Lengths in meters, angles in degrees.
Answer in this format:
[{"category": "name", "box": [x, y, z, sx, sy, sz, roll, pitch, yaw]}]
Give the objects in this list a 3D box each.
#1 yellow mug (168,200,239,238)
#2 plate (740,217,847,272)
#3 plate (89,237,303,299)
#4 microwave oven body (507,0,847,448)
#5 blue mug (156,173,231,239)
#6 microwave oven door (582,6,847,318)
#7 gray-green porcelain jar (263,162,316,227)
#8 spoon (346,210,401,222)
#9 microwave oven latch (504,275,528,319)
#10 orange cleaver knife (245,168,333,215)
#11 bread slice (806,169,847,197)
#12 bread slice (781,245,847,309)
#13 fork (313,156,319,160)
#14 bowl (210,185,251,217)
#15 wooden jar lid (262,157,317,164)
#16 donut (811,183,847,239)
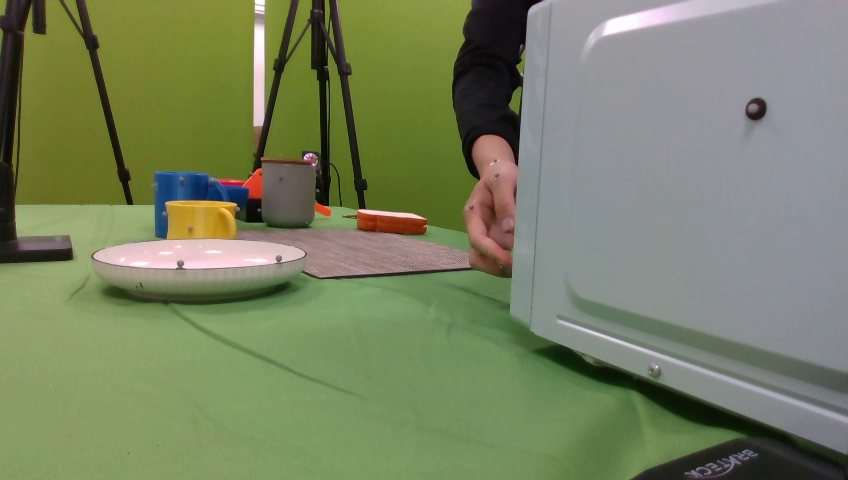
[{"category": "yellow mug", "box": [-0.319, -0.023, 0.904, 0.130, 0.064, 0.100, 9, 11, 36]}, {"category": "plate", "box": [0.358, 0.002, 0.465, 0.209, 0.038, 0.209, 0, 4, 0]}, {"category": "plate", "box": [-0.233, 0.029, 0.636, 0.208, 0.039, 0.207, 2, 7, 0]}, {"category": "microwave oven body", "box": [0.331, -0.042, 0.425, 0.444, 0.260, 0.324, -2, 8, -31]}, {"category": "blue mug", "box": [-0.381, -0.057, 1.004, 0.117, 0.106, 0.082, 1, 8, -12]}, {"category": "microwave oven door", "box": [0.295, -0.067, 0.569, 0.358, 0.243, 0.039, -3, 8, -31]}, {"category": "gray-green porcelain jar", "box": [-0.271, -0.092, 1.217, 0.106, 0.126, 0.106, 2, 7, 0]}, {"category": "spoon", "box": [-0.120, -0.060, 1.400, 0.042, 0.021, 0.192, -26, 24, -38]}, {"category": "microwave oven latch", "box": [0.100, 0.042, 0.469, 0.079, 0.029, 0.030, -1, 7, -26]}, {"category": "orange cleaver knife", "box": [-0.300, -0.089, 1.352, 0.212, 0.077, 0.012, 28, -9, -34]}, {"category": "bread slice", "box": [0.365, -0.051, 0.453, 0.135, 0.018, 0.106, -10, 1, -22]}, {"category": "bread slice", "box": [0.370, 0.020, 0.473, 0.132, 0.019, 0.104, -22, 10, -12]}, {"category": "fork", "box": [-0.331, -0.144, 1.506, 0.207, 0.018, 0.028, -42, -18, 22]}, {"category": "bowl", "box": [-0.408, -0.064, 1.154, 0.151, 0.077, 0.151, 2, 8, 0]}, {"category": "wooden jar lid", "box": [-0.269, -0.154, 1.208, 0.108, 0.020, 0.108, 3, 5, 0]}, {"category": "donut", "box": [0.353, -0.026, 0.463, 0.099, 0.048, 0.099, -10, 3, 1]}]
